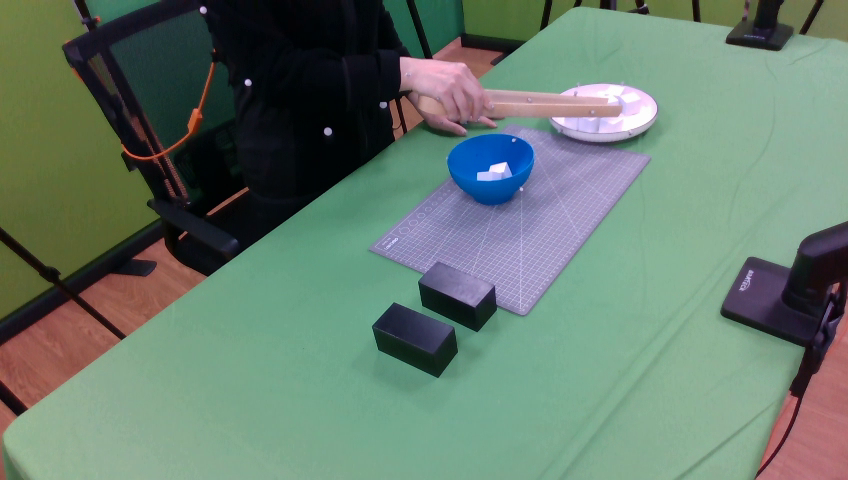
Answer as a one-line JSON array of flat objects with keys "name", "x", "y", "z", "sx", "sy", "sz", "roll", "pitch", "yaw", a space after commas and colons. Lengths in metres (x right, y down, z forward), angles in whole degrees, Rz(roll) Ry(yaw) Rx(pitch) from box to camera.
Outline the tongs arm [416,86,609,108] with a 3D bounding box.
[{"name": "tongs arm", "x": 0.167, "y": -0.242, "z": 1.063, "sx": 0.387, "sy": 0.026, "sz": 0.050, "roll": 0, "pitch": 37, "yaw": -19}]

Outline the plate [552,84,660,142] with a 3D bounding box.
[{"name": "plate", "x": 0.355, "y": -0.247, "z": 1.195, "sx": 0.207, "sy": 0.039, "sz": 0.206, "roll": -5, "pitch": 39, "yaw": 5}]

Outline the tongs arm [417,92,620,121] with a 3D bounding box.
[{"name": "tongs arm", "x": 0.176, "y": -0.226, "z": 1.043, "sx": 0.390, "sy": 0.028, "sz": 0.028, "roll": -2, "pitch": 41, "yaw": -21}]

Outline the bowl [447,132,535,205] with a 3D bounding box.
[{"name": "bowl", "x": 0.119, "y": -0.115, "z": 1.051, "sx": 0.151, "sy": 0.077, "sz": 0.150, "roll": -5, "pitch": 40, "yaw": 5}]
